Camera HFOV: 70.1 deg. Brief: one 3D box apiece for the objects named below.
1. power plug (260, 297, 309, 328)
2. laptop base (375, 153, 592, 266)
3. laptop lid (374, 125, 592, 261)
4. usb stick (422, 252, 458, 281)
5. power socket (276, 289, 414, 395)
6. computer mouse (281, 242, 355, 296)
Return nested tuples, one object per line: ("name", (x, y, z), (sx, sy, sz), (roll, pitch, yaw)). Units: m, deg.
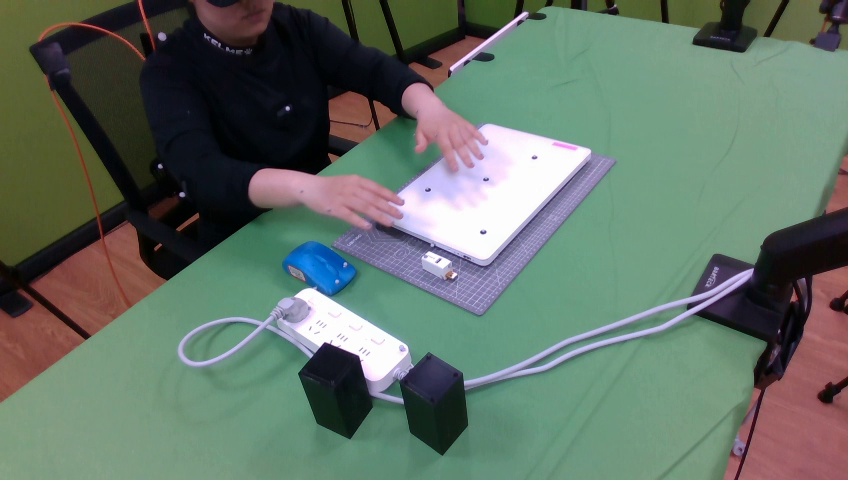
("power plug", (-0.193, 0.107, 0.831), (0.073, 0.053, 0.035), (-32, 43, -25))
("laptop base", (0.112, -0.092, 1.063), (0.233, 0.023, 0.355), (21, 48, 33))
("laptop lid", (0.109, -0.101, 1.057), (0.239, 0.013, 0.358), (23, 48, 34))
("usb stick", (0.025, 0.042, 0.908), (0.058, 0.027, 0.021), (27, 49, 31))
("power socket", (-0.115, 0.133, 0.820), (0.225, 0.033, 0.072), (26, 49, 33))
("computer mouse", (-0.165, 0.041, 0.934), (0.116, 0.041, 0.063), (26, 48, 28))
